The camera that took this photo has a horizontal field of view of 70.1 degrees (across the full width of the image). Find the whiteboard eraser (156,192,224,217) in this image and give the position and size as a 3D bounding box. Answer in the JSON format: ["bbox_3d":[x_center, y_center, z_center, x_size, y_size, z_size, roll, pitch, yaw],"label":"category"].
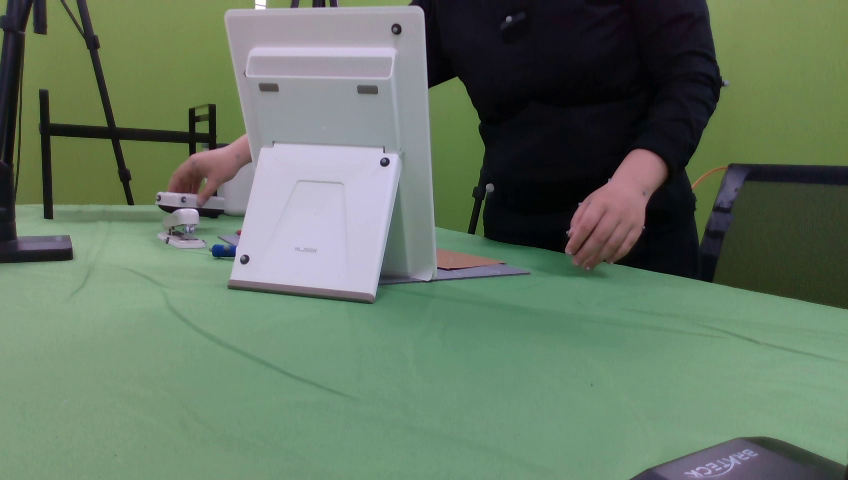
[{"bbox_3d":[-0.417,-0.064,1.084,0.055,0.042,0.113,9,4,25],"label":"whiteboard eraser"}]

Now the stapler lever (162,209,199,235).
[{"bbox_3d":[-0.376,-0.031,0.933,0.027,0.040,0.117,1,7,-38],"label":"stapler lever"}]

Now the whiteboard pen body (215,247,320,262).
[{"bbox_3d":[-0.208,0.018,0.805,0.141,0.017,0.017,3,7,2],"label":"whiteboard pen body"}]

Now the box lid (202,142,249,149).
[{"bbox_3d":[-0.345,-0.225,1.509,0.373,0.015,0.262,-2,8,-31],"label":"box lid"}]

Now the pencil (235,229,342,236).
[{"bbox_3d":[-0.231,-0.012,1.051,0.195,0.012,0.012,0,7,-34],"label":"pencil"}]

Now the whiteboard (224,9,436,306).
[{"bbox_3d":[-0.117,-0.065,0.617,0.217,0.305,0.144,5,29,16],"label":"whiteboard"}]

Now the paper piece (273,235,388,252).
[{"bbox_3d":[-0.151,0.003,0.978,0.135,0.008,0.139,13,10,35],"label":"paper piece"}]

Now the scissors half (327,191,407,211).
[{"bbox_3d":[-0.123,-0.092,1.318,0.175,0.040,0.013,6,10,-4],"label":"scissors half"}]

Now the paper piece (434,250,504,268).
[{"bbox_3d":[0.025,0.026,0.865,0.134,0.004,0.136,9,9,43],"label":"paper piece"}]

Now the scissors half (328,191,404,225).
[{"bbox_3d":[-0.128,-0.072,1.321,0.175,0.040,0.013,22,3,-5],"label":"scissors half"}]

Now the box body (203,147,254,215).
[{"bbox_3d":[-0.347,-0.152,1.520,0.366,0.160,0.253,-2,9,-31],"label":"box body"}]

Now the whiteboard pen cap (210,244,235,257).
[{"bbox_3d":[-0.266,0.015,0.806,0.033,0.018,0.018,3,7,-1],"label":"whiteboard pen cap"}]

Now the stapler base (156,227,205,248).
[{"bbox_3d":[-0.376,-0.007,0.935,0.041,0.024,0.130,1,5,-38],"label":"stapler base"}]
